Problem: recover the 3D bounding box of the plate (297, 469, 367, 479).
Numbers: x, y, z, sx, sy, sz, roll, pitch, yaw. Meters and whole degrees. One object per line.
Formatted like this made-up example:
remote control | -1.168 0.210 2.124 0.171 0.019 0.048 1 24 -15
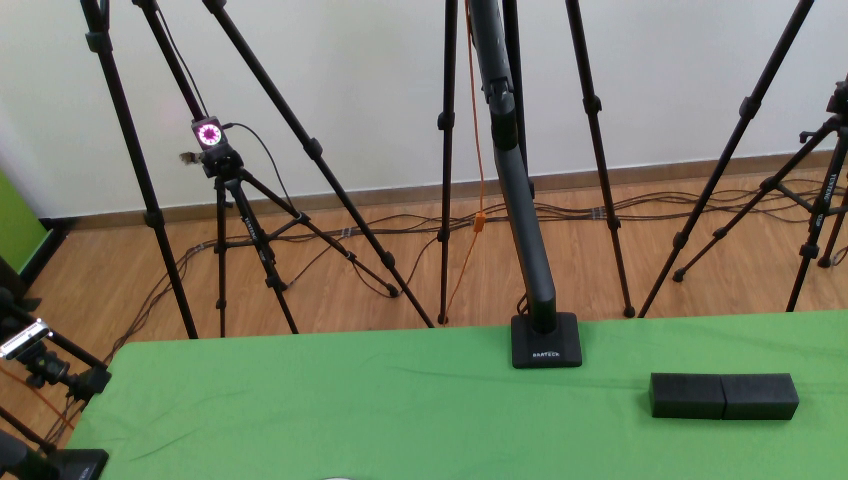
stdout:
plate | -0.144 0.437 0.871 0.207 0.039 0.205 -7 43 7
